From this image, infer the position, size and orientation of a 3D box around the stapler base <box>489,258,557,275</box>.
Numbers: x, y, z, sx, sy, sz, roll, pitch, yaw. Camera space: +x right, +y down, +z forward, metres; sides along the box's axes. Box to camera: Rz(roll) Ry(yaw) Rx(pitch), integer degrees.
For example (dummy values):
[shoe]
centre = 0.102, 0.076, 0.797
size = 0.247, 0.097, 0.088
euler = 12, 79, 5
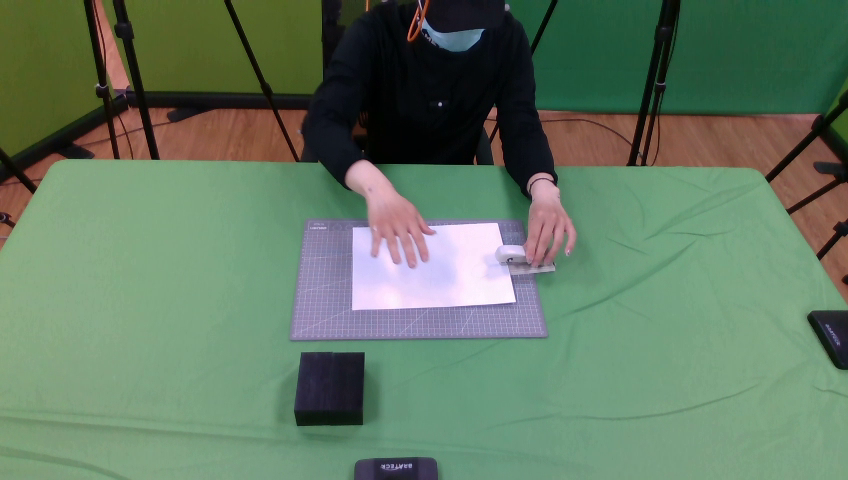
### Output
[stapler base]
centre = 0.191, 0.041, 1.162
size = 0.131, 0.024, 0.041
euler = -4, 49, -11

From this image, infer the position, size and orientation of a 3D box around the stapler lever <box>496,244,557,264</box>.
[stapler lever]
centre = 0.194, 0.024, 1.146
size = 0.118, 0.040, 0.026
euler = -5, 49, -10
